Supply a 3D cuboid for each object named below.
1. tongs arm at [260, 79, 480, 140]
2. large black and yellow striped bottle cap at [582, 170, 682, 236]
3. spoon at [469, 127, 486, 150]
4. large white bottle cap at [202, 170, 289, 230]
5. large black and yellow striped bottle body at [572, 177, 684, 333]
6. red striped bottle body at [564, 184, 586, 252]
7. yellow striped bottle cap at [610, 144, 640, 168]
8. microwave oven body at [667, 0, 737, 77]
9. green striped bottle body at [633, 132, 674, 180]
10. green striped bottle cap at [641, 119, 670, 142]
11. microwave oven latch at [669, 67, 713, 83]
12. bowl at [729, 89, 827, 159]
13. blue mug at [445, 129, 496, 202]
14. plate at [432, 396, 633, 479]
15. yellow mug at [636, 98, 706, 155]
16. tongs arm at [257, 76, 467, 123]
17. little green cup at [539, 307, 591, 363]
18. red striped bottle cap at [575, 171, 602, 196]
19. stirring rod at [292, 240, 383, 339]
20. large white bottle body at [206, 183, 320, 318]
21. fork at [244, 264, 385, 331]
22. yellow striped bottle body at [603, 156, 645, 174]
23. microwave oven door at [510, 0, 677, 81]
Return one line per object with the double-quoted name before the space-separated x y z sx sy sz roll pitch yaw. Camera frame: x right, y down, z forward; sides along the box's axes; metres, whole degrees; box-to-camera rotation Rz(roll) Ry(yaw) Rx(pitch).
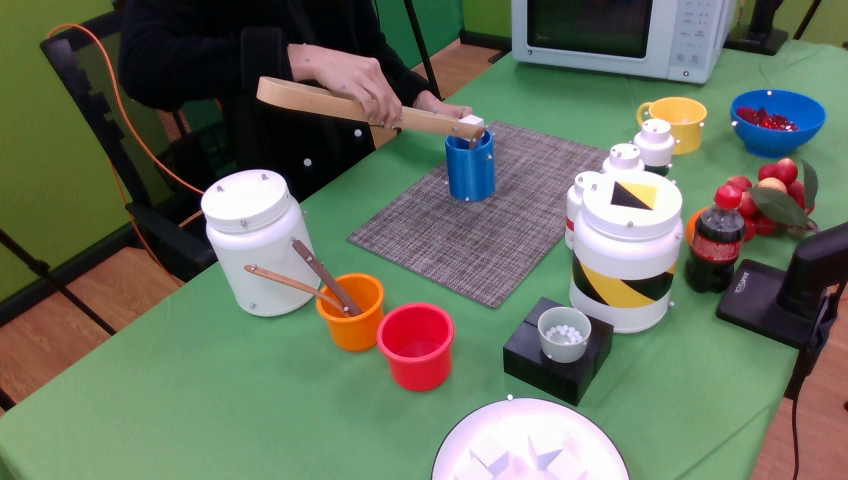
"tongs arm" -0.050 -0.178 0.865 0.391 0.028 0.028 1 26 -44
"large black and yellow striped bottle cap" 0.252 -0.048 0.735 0.115 0.019 0.114 -3 40 3
"spoon" 0.080 -0.146 0.999 0.042 0.194 0.021 -13 75 -6
"large white bottle cap" -0.242 -0.057 0.822 0.115 0.018 0.114 -4 41 4
"large black and yellow striped bottle body" 0.262 0.017 0.788 0.131 0.185 0.130 -5 40 4
"red striped bottle body" 0.247 -0.041 0.910 0.063 0.120 0.062 -3 39 3
"yellow striped bottle cap" 0.307 -0.128 0.923 0.044 0.019 0.044 -5 39 5
"microwave oven body" 0.462 -0.552 1.369 0.439 0.261 0.326 15 45 26
"green striped bottle body" 0.376 -0.135 1.001 0.063 0.120 0.063 -5 40 5
"green striped bottle cap" 0.371 -0.175 0.968 0.044 0.020 0.044 -5 41 5
"microwave oven latch" 0.556 -0.348 1.261 0.078 0.029 0.030 16 46 27
"bowl" 0.615 -0.196 1.069 0.151 0.077 0.150 -5 40 5
"blue mug" 0.078 -0.142 1.062 0.082 0.106 0.115 -12 40 -5
"plate" 0.112 0.261 0.634 0.209 0.038 0.208 -5 40 4
"yellow mug" 0.453 -0.217 1.128 0.100 0.064 0.129 -34 46 -27
"tongs arm" -0.065 -0.187 0.880 0.388 0.026 0.050 3 21 -40
"little green cup" 0.167 0.114 0.721 0.061 0.039 0.061 -4 43 4
"red striped bottle cap" 0.242 -0.081 0.876 0.044 0.018 0.044 -5 44 5
"stirring rod" -0.118 0.068 0.826 0.176 0.006 0.014 48 59 -4
"large white bottle body" -0.233 0.008 0.876 0.130 0.185 0.130 -5 40 4
"fork" -0.142 0.078 0.806 0.209 0.018 0.028 30 33 -23
"yellow striped bottle body" 0.313 -0.089 0.956 0.063 0.121 0.062 -4 40 4
"microwave oven door" 0.354 -0.478 1.290 0.353 0.245 0.039 15 45 25
